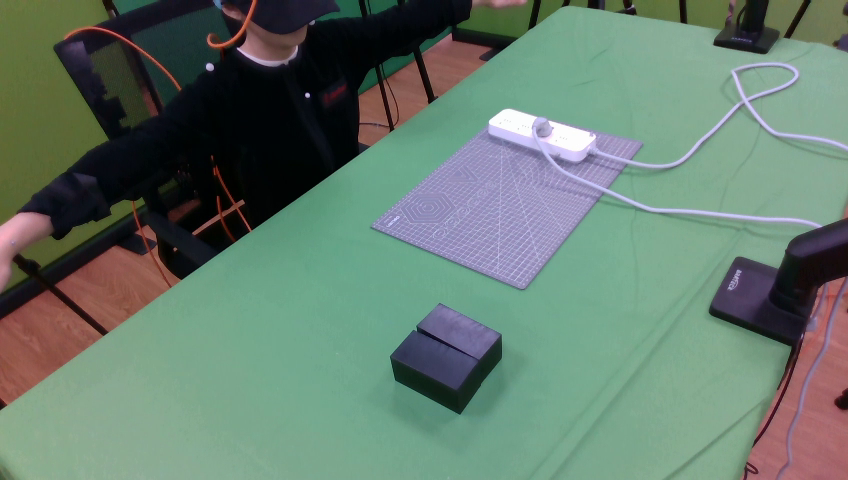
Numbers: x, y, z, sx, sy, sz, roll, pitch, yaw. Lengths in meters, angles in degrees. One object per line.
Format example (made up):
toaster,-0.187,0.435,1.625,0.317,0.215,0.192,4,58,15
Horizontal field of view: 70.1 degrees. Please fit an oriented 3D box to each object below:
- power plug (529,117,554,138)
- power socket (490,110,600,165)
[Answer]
power plug,0.212,-0.201,1.131,0.073,0.053,0.035,-30,44,-26
power socket,0.226,-0.201,1.167,0.225,0.033,0.072,26,52,33
